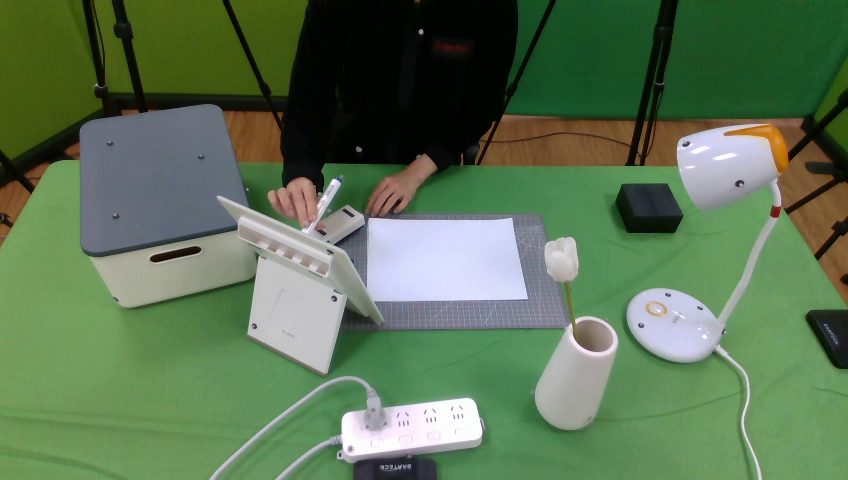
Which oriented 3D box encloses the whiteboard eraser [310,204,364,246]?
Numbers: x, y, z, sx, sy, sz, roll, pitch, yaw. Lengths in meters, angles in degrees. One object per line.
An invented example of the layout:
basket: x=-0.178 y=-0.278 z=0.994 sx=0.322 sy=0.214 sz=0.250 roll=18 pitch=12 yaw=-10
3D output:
whiteboard eraser: x=-0.175 y=-0.022 z=1.188 sx=0.055 sy=0.042 sz=0.112 roll=36 pitch=53 yaw=26

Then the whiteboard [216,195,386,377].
whiteboard: x=-0.212 y=0.093 z=0.939 sx=0.216 sy=0.307 sz=0.143 roll=24 pitch=70 yaw=17

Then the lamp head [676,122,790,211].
lamp head: x=0.423 y=-0.104 z=0.819 sx=0.122 sy=0.113 sz=0.112 roll=-13 pitch=33 yaw=40

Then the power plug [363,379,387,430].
power plug: x=-0.071 y=0.252 z=0.911 sx=0.035 sy=0.053 sz=0.072 roll=3 pitch=40 yaw=0

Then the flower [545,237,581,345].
flower: x=0.213 y=0.137 z=0.846 sx=0.038 sy=0.364 sz=0.044 roll=22 pitch=55 yaw=40

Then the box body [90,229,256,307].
box body: x=-0.471 y=-0.070 z=1.131 sx=0.254 sy=0.161 sz=0.361 roll=-14 pitch=49 yaw=-17

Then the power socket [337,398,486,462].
power socket: x=-0.018 y=0.285 z=0.914 sx=0.227 sy=0.033 sz=0.071 roll=-4 pitch=46 yaw=-8

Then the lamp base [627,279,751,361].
lamp base: x=0.460 y=0.100 z=1.027 sx=0.178 sy=0.181 sz=0.160 roll=27 pitch=51 yaw=17

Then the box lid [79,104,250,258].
box lid: x=-0.467 y=-0.120 z=1.075 sx=0.264 sy=0.015 sz=0.369 roll=-13 pitch=49 yaw=-18

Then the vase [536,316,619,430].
vase: x=0.229 y=0.200 z=0.901 sx=0.098 sy=0.201 sz=0.097 roll=3 pitch=46 yaw=-3

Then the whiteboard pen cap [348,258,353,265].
whiteboard pen cap: x=-0.152 y=0.041 z=1.146 sx=0.033 sy=0.018 sz=0.018 roll=12 pitch=47 yaw=10

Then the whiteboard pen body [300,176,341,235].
whiteboard pen body: x=-0.169 y=-0.043 z=0.953 sx=0.017 sy=0.017 sz=0.140 roll=21 pitch=67 yaw=15
